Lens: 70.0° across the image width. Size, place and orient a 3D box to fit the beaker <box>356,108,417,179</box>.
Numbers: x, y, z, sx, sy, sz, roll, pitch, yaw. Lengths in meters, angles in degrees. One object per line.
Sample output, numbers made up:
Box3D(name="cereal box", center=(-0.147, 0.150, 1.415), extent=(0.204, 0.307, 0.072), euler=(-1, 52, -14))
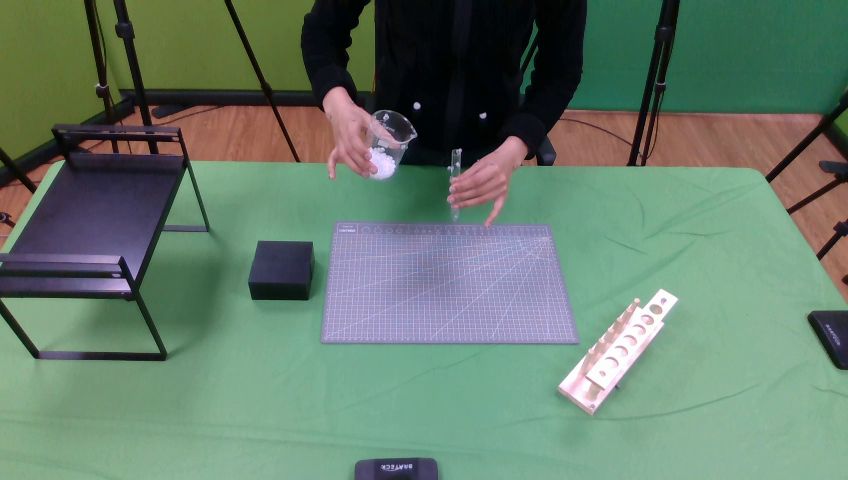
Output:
Box3D(name="beaker", center=(-0.066, -0.156, 1.004), extent=(0.084, 0.100, 0.073), euler=(10, 53, -18))

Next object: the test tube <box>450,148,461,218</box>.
Box3D(name="test tube", center=(0.054, -0.096, 1.059), extent=(0.017, 0.151, 0.017), euler=(-1, 45, 1))

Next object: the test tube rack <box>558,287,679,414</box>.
Box3D(name="test tube rack", center=(0.326, 0.170, 1.009), extent=(0.066, 0.085, 0.242), euler=(35, 54, 26))
